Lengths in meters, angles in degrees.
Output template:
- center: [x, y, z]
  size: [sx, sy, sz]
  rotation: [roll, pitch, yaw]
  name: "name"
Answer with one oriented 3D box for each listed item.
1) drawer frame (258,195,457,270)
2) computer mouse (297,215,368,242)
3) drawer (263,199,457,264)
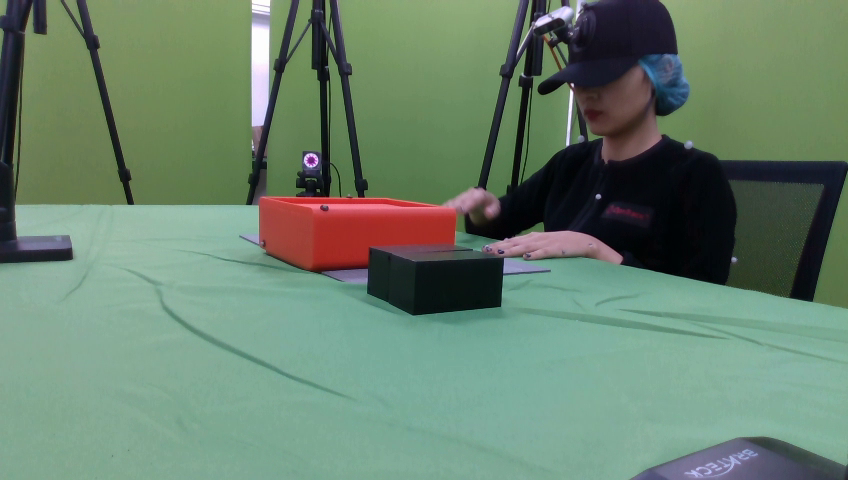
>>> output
- center: [-0.095, -0.018, 0.845]
  size: [0.215, 0.082, 0.200]
  rotation: [-3, 10, -34]
  name: "drawer frame"
- center: [-0.155, -0.021, 1.032]
  size: [0.118, 0.041, 0.062]
  rotation: [-9, 14, -39]
  name: "computer mouse"
- center: [-0.093, -0.017, 0.846]
  size: [0.213, 0.073, 0.193]
  rotation: [-3, 10, -33]
  name: "drawer"
